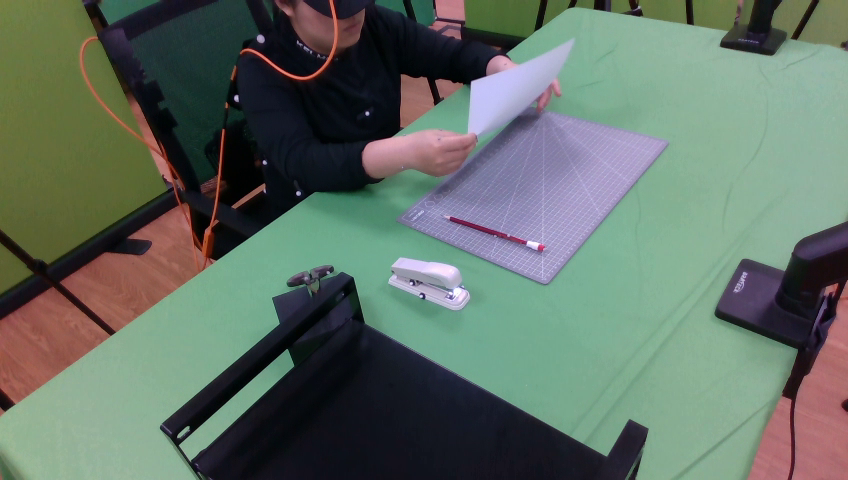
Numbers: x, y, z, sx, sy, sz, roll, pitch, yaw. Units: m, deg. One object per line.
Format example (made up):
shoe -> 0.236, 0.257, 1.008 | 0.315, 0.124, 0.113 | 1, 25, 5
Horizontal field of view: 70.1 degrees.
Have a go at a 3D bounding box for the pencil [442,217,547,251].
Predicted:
pencil -> 0.110, -0.012, 0.980 | 0.192, 0.012, 0.012 | 18, 46, 30

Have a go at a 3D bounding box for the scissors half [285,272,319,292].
scissors half -> -0.171, 0.063, 0.868 | 0.040, 0.013, 0.174 | -11, 7, -21

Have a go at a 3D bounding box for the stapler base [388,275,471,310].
stapler base -> 0.007, 0.066, 0.897 | 0.129, 0.024, 0.041 | 17, 43, 29

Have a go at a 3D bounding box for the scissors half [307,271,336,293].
scissors half -> -0.152, 0.061, 0.872 | 0.040, 0.013, 0.175 | -3, 6, -4

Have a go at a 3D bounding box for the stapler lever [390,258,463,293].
stapler lever -> 0.002, 0.046, 0.881 | 0.117, 0.040, 0.027 | 17, 43, 29
